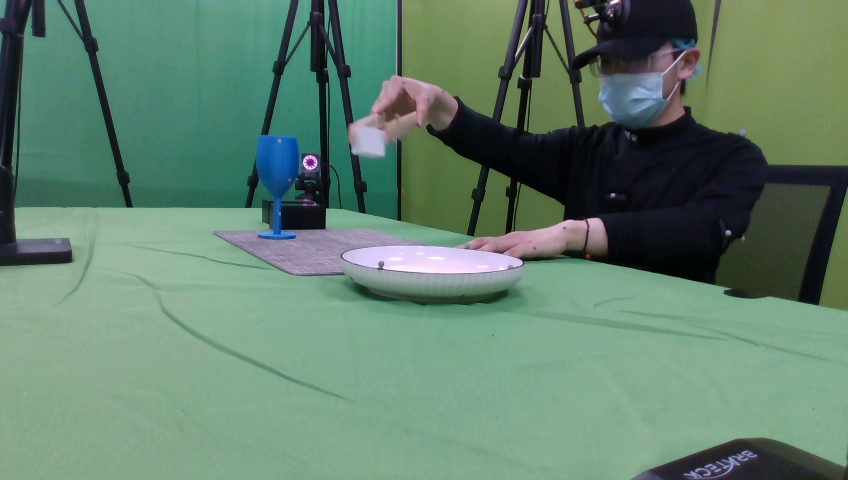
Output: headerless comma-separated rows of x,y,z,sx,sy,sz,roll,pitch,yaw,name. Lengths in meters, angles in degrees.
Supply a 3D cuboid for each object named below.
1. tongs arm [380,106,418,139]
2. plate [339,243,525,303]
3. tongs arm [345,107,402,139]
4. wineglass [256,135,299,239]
-0.046,-0.187,0.944,0.051,0.026,0.385,1,15,9,tongs arm
0.008,0.035,0.682,0.209,0.038,0.209,3,7,0,plate
-0.075,-0.188,0.946,0.028,0.028,0.387,-3,14,7,tongs arm
-0.252,-0.091,1.035,0.074,0.172,0.073,3,7,0,wineglass
